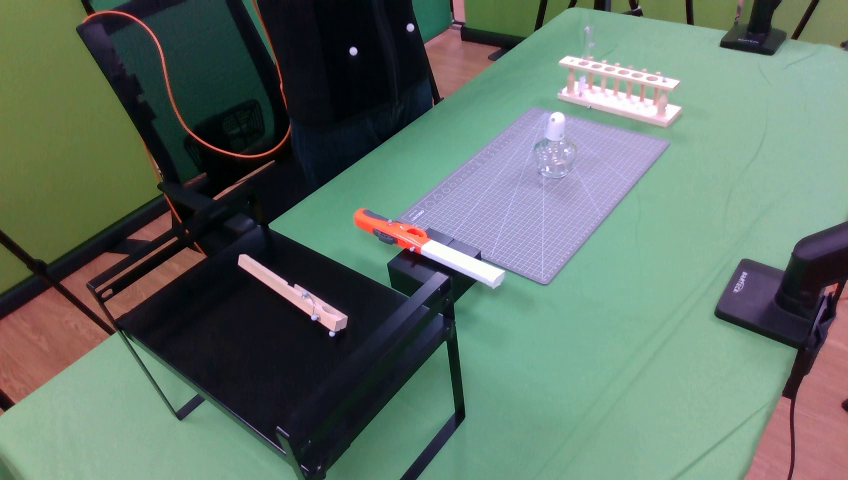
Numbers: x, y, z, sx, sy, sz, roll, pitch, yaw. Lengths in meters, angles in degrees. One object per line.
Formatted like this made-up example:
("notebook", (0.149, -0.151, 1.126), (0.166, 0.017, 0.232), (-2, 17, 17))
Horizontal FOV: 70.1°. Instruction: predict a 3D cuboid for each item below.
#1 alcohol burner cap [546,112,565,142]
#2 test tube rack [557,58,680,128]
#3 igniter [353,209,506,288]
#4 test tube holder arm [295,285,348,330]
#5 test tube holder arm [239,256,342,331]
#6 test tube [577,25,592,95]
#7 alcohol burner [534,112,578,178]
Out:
("alcohol burner cap", (0.229, -0.197, 1.042), (0.034, 0.048, 0.033), (-1, 46, 2))
("test tube rack", (0.395, -0.309, 1.230), (0.240, 0.085, 0.067), (25, 50, 33))
("igniter", (-0.003, 0.006, 0.892), (0.274, 0.025, 0.057), (24, 37, 31))
("test tube holder arm", (-0.113, 0.069, 0.635), (0.087, 0.015, 0.010), (25, 18, 36))
("test tube holder arm", (-0.149, 0.054, 0.657), (0.177, 0.015, 0.013), (25, 18, 35))
("test tube", (0.325, -0.362, 1.226), (0.017, 0.151, 0.017), (-3, 45, 4))
("alcohol burner", (0.232, -0.170, 1.065), (0.078, 0.119, 0.077), (-5, 39, 5))
